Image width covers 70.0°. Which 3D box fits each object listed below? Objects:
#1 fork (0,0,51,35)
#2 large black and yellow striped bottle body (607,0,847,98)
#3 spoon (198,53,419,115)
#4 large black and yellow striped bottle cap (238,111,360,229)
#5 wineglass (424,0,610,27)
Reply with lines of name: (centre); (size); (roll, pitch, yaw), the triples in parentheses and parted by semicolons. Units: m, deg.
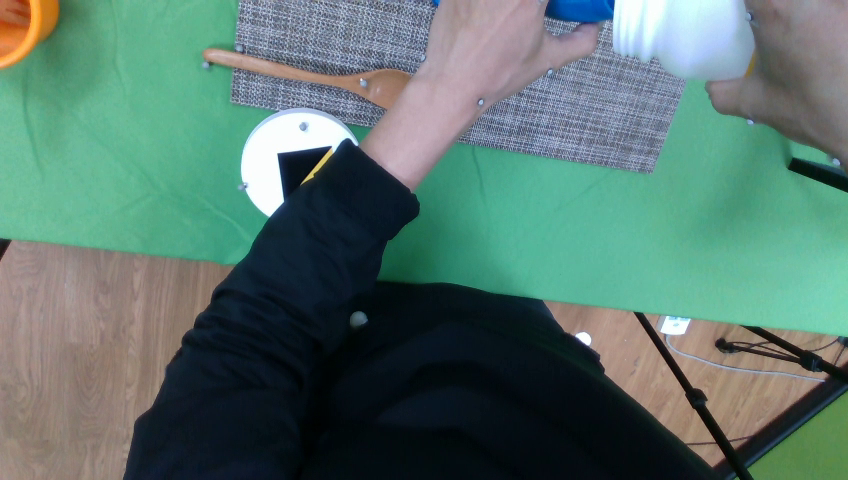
fork: (-0.352, -0.171, 0.393); (0.028, 0.018, 0.208); (-57, 158, 18)
large black and yellow striped bottle body: (0.208, -0.153, 0.346); (0.183, 0.130, 0.131); (11, 116, 19)
spoon: (-0.099, -0.143, 0.540); (0.194, 0.021, 0.042); (6, 134, -18)
large black and yellow striped bottle cap: (-0.118, -0.065, 0.579); (0.115, 0.018, 0.116); (-7, 119, -12)
wineglass: (0.076, -0.204, 0.465); (0.074, 0.170, 0.074); (-20, 120, -38)
